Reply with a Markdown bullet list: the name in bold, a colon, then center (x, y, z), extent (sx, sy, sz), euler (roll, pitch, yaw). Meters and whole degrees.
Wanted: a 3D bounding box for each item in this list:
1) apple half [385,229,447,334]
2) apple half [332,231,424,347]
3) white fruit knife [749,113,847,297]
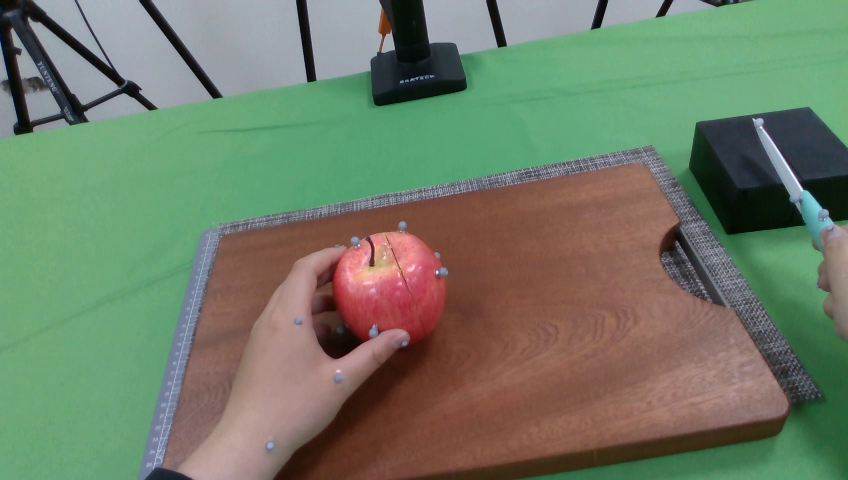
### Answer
- **apple half**: center (0.000, 0.027, 0.438), extent (0.033, 0.082, 0.080), euler (-22, 43, -5)
- **apple half**: center (-0.036, 0.040, 0.433), extent (0.053, 0.075, 0.080), euler (-22, 47, -5)
- **white fruit knife**: center (0.278, -0.024, 0.440), extent (0.016, 0.028, 0.205), euler (-14, 50, 10)
